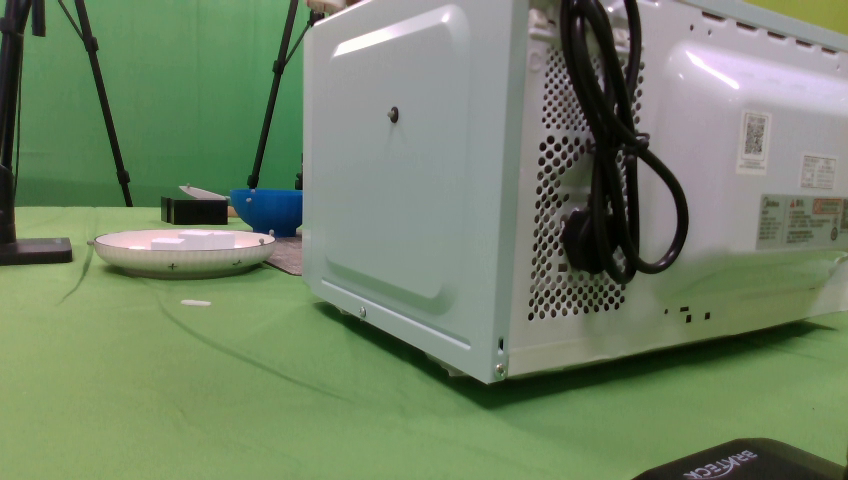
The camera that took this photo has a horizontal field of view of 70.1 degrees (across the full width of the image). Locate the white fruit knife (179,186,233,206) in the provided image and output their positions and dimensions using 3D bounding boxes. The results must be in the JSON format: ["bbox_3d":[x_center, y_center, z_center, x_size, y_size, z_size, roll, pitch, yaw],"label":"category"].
[{"bbox_3d":[-0.413,-0.081,1.270,0.208,0.027,0.016,17,13,-41],"label":"white fruit knife"}]

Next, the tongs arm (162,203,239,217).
[{"bbox_3d":[-0.396,-0.066,1.399,0.389,0.028,0.028,1,5,-15],"label":"tongs arm"}]

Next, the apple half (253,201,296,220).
[{"bbox_3d":[-0.264,-0.053,1.067,0.081,0.033,0.081,1,8,0],"label":"apple half"}]

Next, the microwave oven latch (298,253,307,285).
[{"bbox_3d":[-0.081,0.027,0.582,0.079,0.029,0.030,-2,8,-33],"label":"microwave oven latch"}]

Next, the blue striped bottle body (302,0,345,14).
[{"bbox_3d":[-0.141,-0.404,0.900,0.063,0.120,0.063,10,6,-1],"label":"blue striped bottle body"}]

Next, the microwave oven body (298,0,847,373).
[{"bbox_3d":[0.151,-0.055,0.542,0.444,0.260,0.324,-2,7,-33],"label":"microwave oven body"}]

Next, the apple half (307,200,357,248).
[{"bbox_3d":[-0.135,-0.024,0.942,0.053,0.074,0.081,13,8,38],"label":"apple half"}]

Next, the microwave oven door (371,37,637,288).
[{"bbox_3d":[0.109,-0.080,0.686,0.358,0.243,0.039,-2,9,-33],"label":"microwave oven door"}]

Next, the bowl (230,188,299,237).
[{"bbox_3d":[-0.264,-0.048,1.066,0.151,0.077,0.151,3,8,0],"label":"bowl"}]

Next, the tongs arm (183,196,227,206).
[{"bbox_3d":[-0.404,-0.081,1.479,0.385,0.026,0.050,3,8,-2],"label":"tongs arm"}]

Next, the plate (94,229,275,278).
[{"bbox_3d":[-0.291,0.016,0.750,0.208,0.039,0.207,2,7,0],"label":"plate"}]
